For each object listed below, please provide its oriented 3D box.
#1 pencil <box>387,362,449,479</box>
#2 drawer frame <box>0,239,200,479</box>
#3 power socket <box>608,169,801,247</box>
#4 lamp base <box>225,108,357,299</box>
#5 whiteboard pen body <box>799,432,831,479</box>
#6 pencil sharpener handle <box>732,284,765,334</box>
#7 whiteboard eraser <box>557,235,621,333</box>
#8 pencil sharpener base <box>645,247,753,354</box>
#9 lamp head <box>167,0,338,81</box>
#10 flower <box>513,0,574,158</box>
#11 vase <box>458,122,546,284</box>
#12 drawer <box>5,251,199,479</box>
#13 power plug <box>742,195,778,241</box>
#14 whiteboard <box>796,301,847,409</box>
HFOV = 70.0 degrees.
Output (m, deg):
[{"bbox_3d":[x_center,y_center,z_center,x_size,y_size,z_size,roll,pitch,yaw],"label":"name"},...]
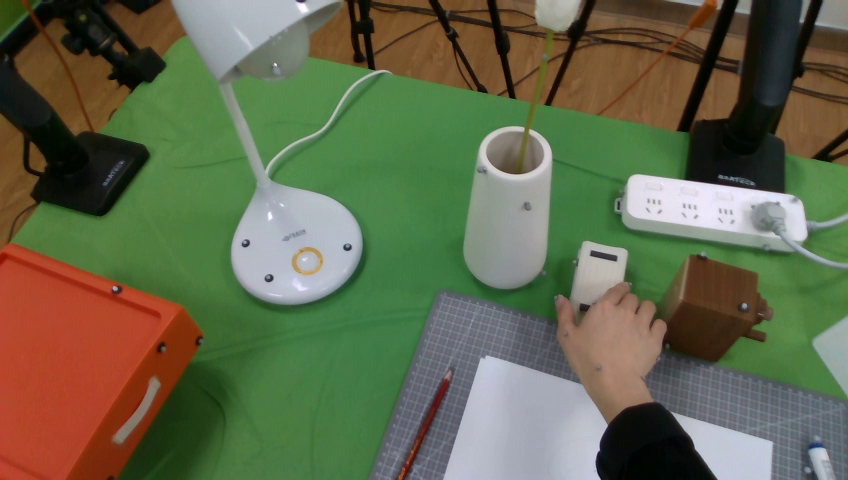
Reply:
[{"bbox_3d":[-0.015,0.205,0.616,0.012,0.012,0.193,21,58,16],"label":"pencil"},{"bbox_3d":[-0.371,0.125,0.590,0.213,0.083,0.200,18,60,11],"label":"drawer frame"},{"bbox_3d":[0.346,-0.041,0.752,0.226,0.033,0.071,9,59,8],"label":"power socket"},{"bbox_3d":[-0.174,-0.049,0.687,0.160,0.182,0.177,-33,59,-19],"label":"lamp base"},{"bbox_3d":[0.378,0.250,0.565,0.017,0.017,0.139,0,57,3],"label":"whiteboard pen body"},{"bbox_3d":[0.336,0.074,0.619,0.030,0.068,0.036,17,58,13],"label":"pencil sharpener handle"},{"bbox_3d":[0.190,0.050,0.693,0.055,0.042,0.112,14,58,9],"label":"whiteboard eraser"},{"bbox_3d":[0.288,0.067,0.640,0.076,0.108,0.061,17,59,12],"label":"pencil sharpener base"},{"bbox_3d":[-0.140,-0.192,0.433,0.112,0.112,0.123,-41,102,-22],"label":"lamp head"},{"bbox_3d":[0.093,-0.093,0.597,0.038,0.364,0.043,5,39,-3],"label":"flower"},{"bbox_3d":[0.084,-0.035,0.658,0.098,0.202,0.097,-2,56,3],"label":"vase"},{"bbox_3d":[-0.365,0.125,0.588,0.211,0.074,0.193,17,60,13],"label":"drawer"},{"bbox_3d":[0.390,-0.022,0.710,0.035,0.053,0.072,18,61,14],"label":"power plug"},{"bbox_3d":[0.550,0.095,0.530,0.144,0.307,0.215,-3,54,-22],"label":"whiteboard"}]
